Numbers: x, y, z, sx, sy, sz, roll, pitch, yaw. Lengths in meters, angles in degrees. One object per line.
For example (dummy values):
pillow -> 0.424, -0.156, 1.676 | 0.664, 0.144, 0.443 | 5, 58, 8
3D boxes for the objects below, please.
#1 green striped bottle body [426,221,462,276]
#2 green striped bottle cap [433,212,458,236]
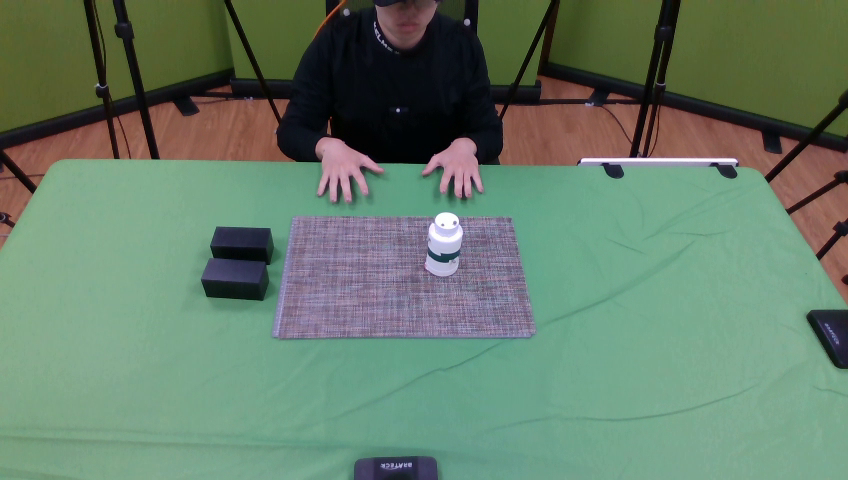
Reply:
green striped bottle body -> 0.037, 0.007, 1.122 | 0.063, 0.120, 0.063 | 2, 46, -2
green striped bottle cap -> 0.039, -0.030, 1.085 | 0.044, 0.020, 0.044 | 3, 46, -3
